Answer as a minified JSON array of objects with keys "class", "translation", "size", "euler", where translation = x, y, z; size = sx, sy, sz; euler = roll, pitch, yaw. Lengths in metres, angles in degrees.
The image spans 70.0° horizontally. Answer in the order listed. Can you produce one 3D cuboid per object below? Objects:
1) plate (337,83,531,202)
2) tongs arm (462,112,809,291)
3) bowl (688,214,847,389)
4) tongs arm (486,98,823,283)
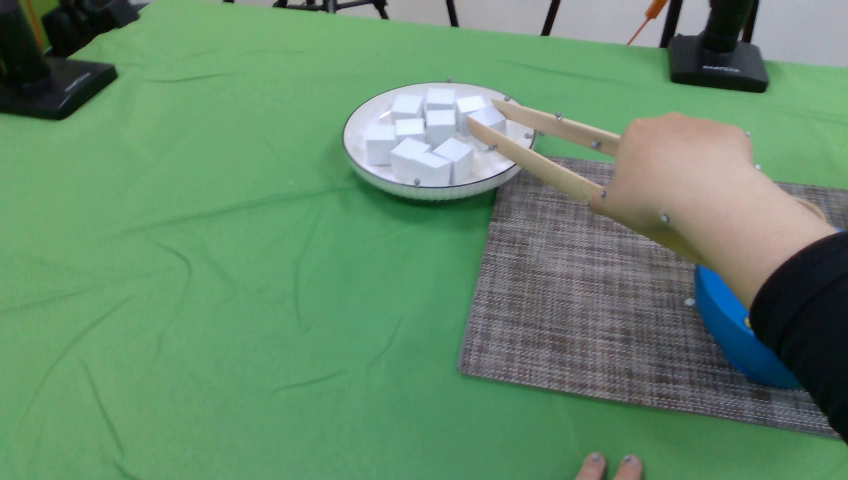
[{"class":"plate","translation":[0.011,-0.105,0.660],"size":[0.209,0.038,0.207],"euler":[-1,43,1]},{"class":"tongs arm","translation":[0.124,-0.052,0.493],"size":[0.028,0.028,0.383],"euler":[-27,33,-13]},{"class":"bowl","translation":[0.268,0.057,0.454],"size":[0.151,0.077,0.150],"euler":[0,43,0]},{"class":"tongs arm","translation":[0.145,-0.064,0.497],"size":[0.051,0.027,0.380],"euler":[-33,34,-14]}]
